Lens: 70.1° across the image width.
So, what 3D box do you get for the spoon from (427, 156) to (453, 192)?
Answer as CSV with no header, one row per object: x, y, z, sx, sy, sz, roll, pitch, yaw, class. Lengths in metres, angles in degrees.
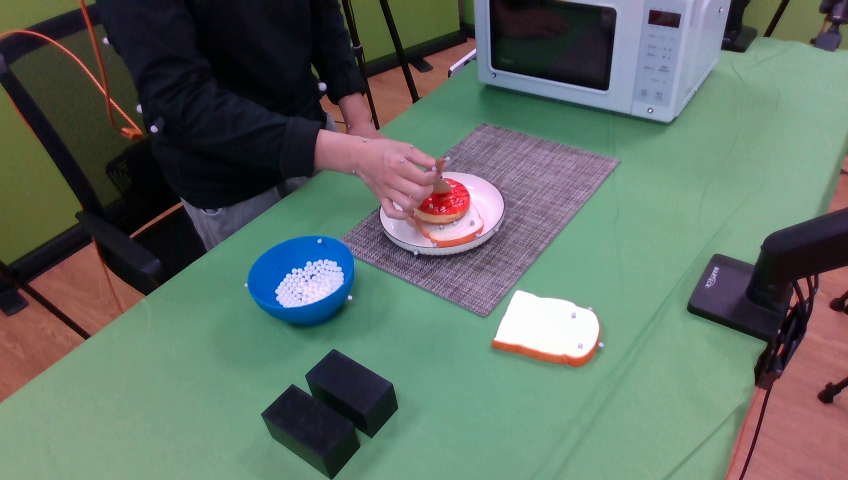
0.022,-0.094,0.860,0.041,0.194,0.021,1,80,2,spoon

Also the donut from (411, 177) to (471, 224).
0.028,-0.064,0.978,0.099,0.048,0.098,-3,40,3,donut

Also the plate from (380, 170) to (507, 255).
0.033,-0.042,0.995,0.207,0.039,0.206,-4,40,4,plate

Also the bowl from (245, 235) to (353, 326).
-0.170,0.070,0.868,0.151,0.077,0.150,-4,41,4,bowl

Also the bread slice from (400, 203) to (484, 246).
0.037,-0.036,0.992,0.107,0.018,0.133,-22,40,-17,bread slice

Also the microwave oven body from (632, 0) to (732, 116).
0.377,-0.462,1.267,0.438,0.261,0.327,21,48,30,microwave oven body

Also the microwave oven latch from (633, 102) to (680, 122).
0.444,-0.249,1.157,0.078,0.029,0.030,21,49,30,microwave oven latch

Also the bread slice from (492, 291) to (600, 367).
0.169,0.118,0.811,0.131,0.019,0.105,11,44,21,bread slice

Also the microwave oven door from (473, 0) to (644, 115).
0.257,-0.396,1.199,0.353,0.245,0.039,21,48,29,microwave oven door
